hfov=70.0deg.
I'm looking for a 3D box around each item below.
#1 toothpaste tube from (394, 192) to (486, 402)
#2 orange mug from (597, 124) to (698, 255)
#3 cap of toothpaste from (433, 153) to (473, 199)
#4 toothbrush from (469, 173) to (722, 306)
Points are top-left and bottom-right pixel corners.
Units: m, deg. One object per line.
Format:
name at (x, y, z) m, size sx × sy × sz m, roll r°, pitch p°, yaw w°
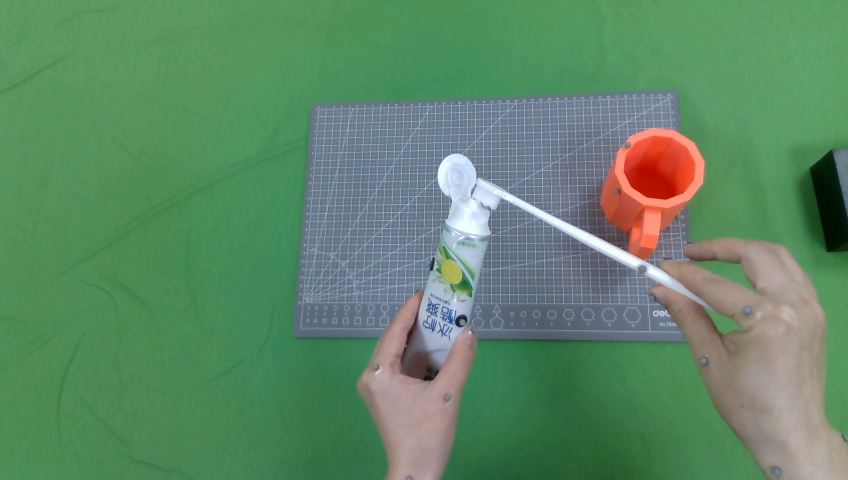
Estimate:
toothpaste tube at (0.014, 0.042, 0.463) m, size 0.054 × 0.034 × 0.165 m, roll 23°, pitch 109°, yaw 30°
orange mug at (0.233, -0.048, 0.645) m, size 0.083 × 0.101 × 0.125 m, roll 8°, pitch 71°, yaw 9°
cap of toothpaste at (0.023, -0.048, 0.454) m, size 0.037 × 0.011 × 0.037 m, roll -2°, pitch 94°, yaw -33°
toothbrush at (0.107, -0.001, 0.403) m, size 0.180 × 0.014 × 0.017 m, roll 29°, pitch 102°, yaw 20°
